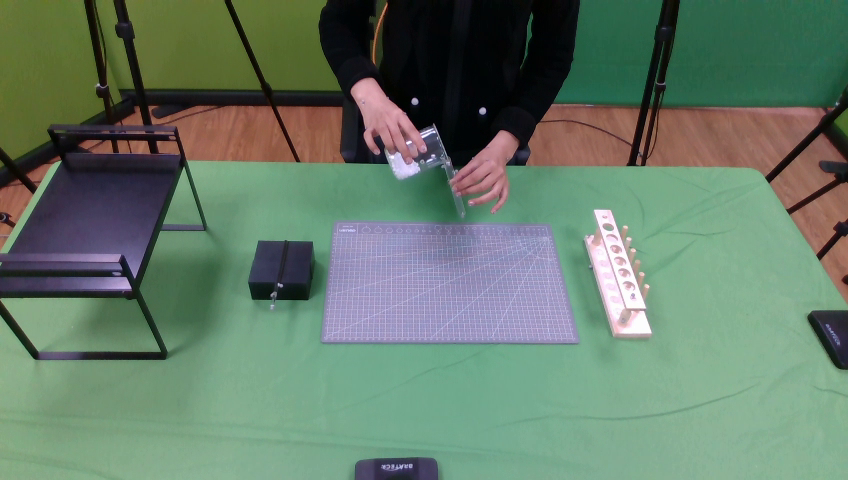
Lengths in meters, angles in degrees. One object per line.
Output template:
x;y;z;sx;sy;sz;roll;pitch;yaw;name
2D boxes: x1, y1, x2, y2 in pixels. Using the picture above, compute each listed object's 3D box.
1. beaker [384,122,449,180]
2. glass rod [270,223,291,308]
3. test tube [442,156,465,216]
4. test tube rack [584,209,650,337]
-0.014;-0.154;1.073;0.100;0.084;0.073;-21;54;5;beaker
-0.255;0.041;1.082;0.008;0.008;0.198;2;46;-2;glass rod
0.057;-0.100;1.153;0.017;0.151;0.017;-9;47;11;test tube
0.365;0.056;1.129;0.067;0.085;0.240;1;46;-4;test tube rack
